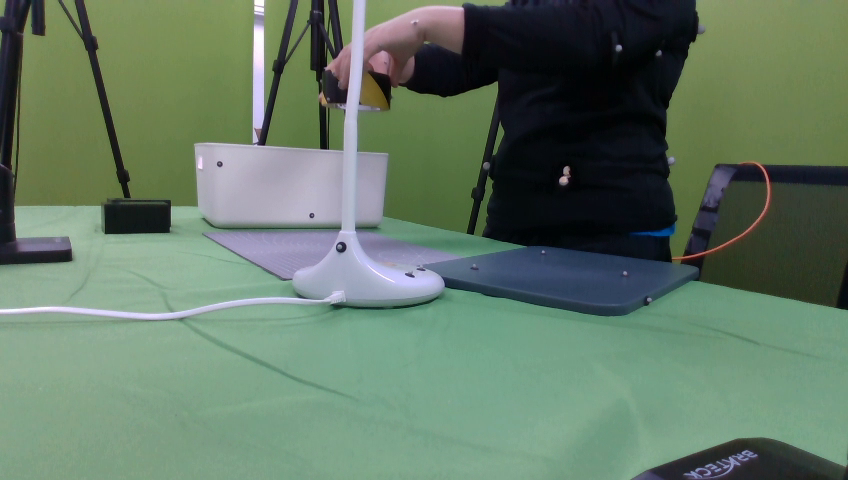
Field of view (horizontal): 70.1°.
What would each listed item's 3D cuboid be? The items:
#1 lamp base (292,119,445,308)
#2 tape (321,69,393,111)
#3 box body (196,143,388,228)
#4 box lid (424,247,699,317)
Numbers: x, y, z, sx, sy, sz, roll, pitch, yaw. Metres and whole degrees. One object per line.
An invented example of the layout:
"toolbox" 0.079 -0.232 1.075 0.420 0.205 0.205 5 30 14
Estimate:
"lamp base" -0.056 -0.030 0.616 0.160 0.180 0.179 3 10 8
"tape" -0.107 -0.239 0.967 0.117 0.052 0.117 2 7 0
"box body" -0.286 -0.118 1.291 0.366 0.160 0.253 -1 8 -27
"box lid" 0.184 0.044 0.788 0.262 0.015 0.373 8 9 35
